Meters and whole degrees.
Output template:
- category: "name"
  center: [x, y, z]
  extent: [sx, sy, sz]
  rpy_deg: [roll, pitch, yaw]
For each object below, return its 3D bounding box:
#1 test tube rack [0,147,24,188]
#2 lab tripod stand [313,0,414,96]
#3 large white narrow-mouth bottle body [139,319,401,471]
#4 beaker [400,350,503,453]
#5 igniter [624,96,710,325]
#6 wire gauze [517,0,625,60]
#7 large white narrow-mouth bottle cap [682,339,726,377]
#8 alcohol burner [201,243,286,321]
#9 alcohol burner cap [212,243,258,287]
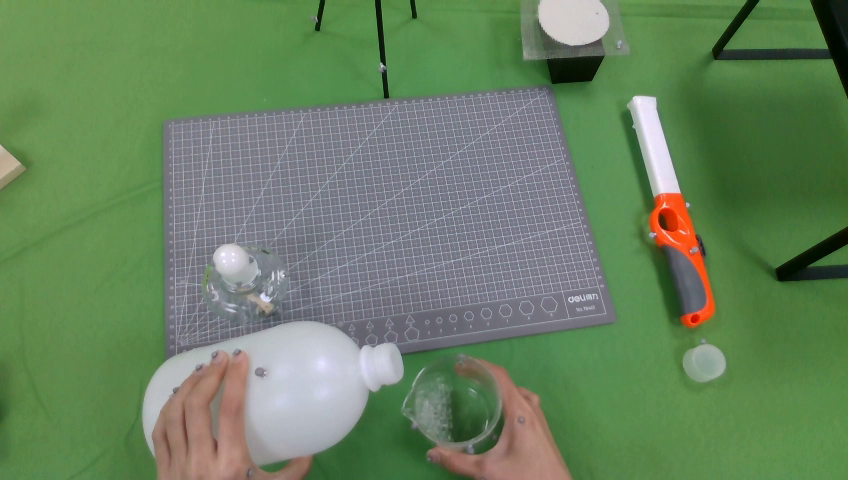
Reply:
- category: "test tube rack"
  center: [-0.523, -0.028, 0.571]
  extent: [0.066, 0.085, 0.242]
  rpy_deg: [39, 70, 11]
- category: "lab tripod stand"
  center: [-0.059, -0.259, 0.677]
  extent: [0.148, 0.132, 0.147]
  rpy_deg: [2, 69, -6]
- category: "large white narrow-mouth bottle body"
  center: [-0.112, 0.115, 0.472]
  extent: [0.194, 0.102, 0.101]
  rpy_deg: [-14, 68, 14]
- category: "beaker"
  center: [0.025, 0.146, 0.529]
  extent: [0.084, 0.101, 0.073]
  rpy_deg: [-10, 65, -1]
- category: "igniter"
  center: [0.268, -0.040, 0.675]
  extent: [0.057, 0.025, 0.274]
  rpy_deg: [0, 68, -16]
- category: "wire gauze"
  center: [0.169, -0.263, 0.713]
  extent: [0.121, 0.011, 0.124]
  rpy_deg: [0, 68, -5]
- category: "large white narrow-mouth bottle cap"
  center: [0.284, 0.120, 0.616]
  extent: [0.038, 0.024, 0.037]
  rpy_deg: [2, 67, -4]
- category: "alcohol burner"
  center: [-0.169, 0.033, 0.559]
  extent: [0.078, 0.120, 0.077]
  rpy_deg: [3, 66, -5]
- category: "alcohol burner cap"
  center: [-0.166, 0.020, 0.525]
  extent: [0.034, 0.048, 0.033]
  rpy_deg: [1, 73, -2]
